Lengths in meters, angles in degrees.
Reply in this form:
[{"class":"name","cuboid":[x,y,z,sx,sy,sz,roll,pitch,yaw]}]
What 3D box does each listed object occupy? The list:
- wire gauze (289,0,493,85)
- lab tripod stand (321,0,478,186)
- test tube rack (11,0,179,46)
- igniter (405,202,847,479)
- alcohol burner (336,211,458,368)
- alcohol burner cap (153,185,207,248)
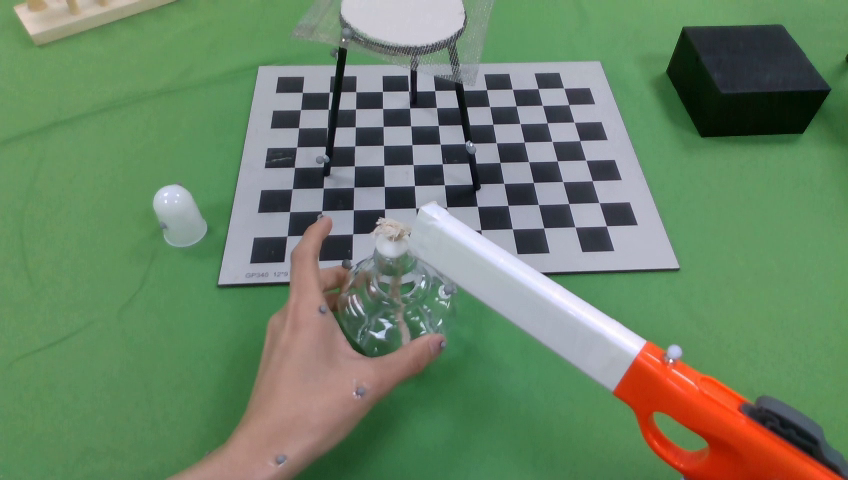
[{"class":"wire gauze","cuboid":[-0.015,-0.157,0.419,0.125,0.011,0.120,13,52,6]},{"class":"lab tripod stand","cuboid":[-0.014,-0.118,0.473,0.148,0.132,0.147,2,51,-2]},{"class":"test tube rack","cuboid":[-0.315,-0.298,0.641,0.242,0.086,0.066,-30,59,-23]},{"class":"igniter","cuboid":[0.102,0.066,0.276,0.274,0.057,0.025,35,35,21]},{"class":"alcohol burner","cuboid":[-0.017,0.028,0.375,0.078,0.120,0.077,0,50,0]},{"class":"alcohol burner cap","cuboid":[-0.186,-0.020,0.454,0.034,0.048,0.033,2,52,-2]}]
